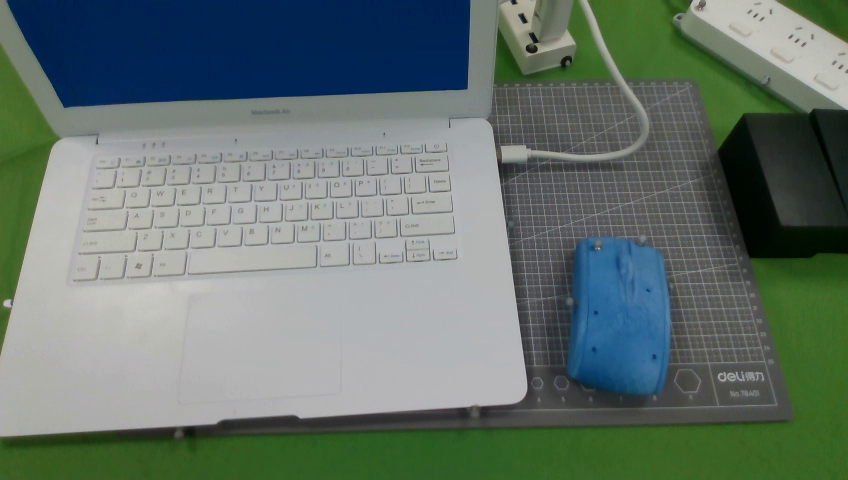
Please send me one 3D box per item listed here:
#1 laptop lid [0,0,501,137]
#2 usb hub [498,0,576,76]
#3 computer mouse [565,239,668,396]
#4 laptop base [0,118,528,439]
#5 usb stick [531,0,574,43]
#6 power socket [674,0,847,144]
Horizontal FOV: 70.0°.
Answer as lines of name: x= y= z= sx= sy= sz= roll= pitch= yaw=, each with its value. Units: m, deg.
laptop lid: x=-0.122 y=-0.167 z=0.410 sx=0.357 sy=0.244 sz=0.013 roll=-4 pitch=49 yaw=-1
usb hub: x=0.091 y=-0.209 z=0.562 sx=0.049 sy=0.025 sz=0.124 roll=-16 pitch=63 yaw=-9
computer mouse: x=0.134 y=0.048 z=0.418 sx=0.062 sy=0.041 sz=0.116 roll=10 pitch=58 yaw=7
laptop base: x=-0.113 y=0.016 z=0.446 sx=0.354 sy=0.023 sz=0.233 roll=-3 pitch=66 yaw=-2
usb stick: x=0.109 y=-0.189 z=0.519 sx=0.027 sy=0.059 sz=0.021 roll=-19 pitch=62 yaw=-8
power socket: x=0.331 y=-0.155 z=0.533 sx=0.072 sy=0.033 sz=0.225 roll=-39 pitch=69 yaw=-20
